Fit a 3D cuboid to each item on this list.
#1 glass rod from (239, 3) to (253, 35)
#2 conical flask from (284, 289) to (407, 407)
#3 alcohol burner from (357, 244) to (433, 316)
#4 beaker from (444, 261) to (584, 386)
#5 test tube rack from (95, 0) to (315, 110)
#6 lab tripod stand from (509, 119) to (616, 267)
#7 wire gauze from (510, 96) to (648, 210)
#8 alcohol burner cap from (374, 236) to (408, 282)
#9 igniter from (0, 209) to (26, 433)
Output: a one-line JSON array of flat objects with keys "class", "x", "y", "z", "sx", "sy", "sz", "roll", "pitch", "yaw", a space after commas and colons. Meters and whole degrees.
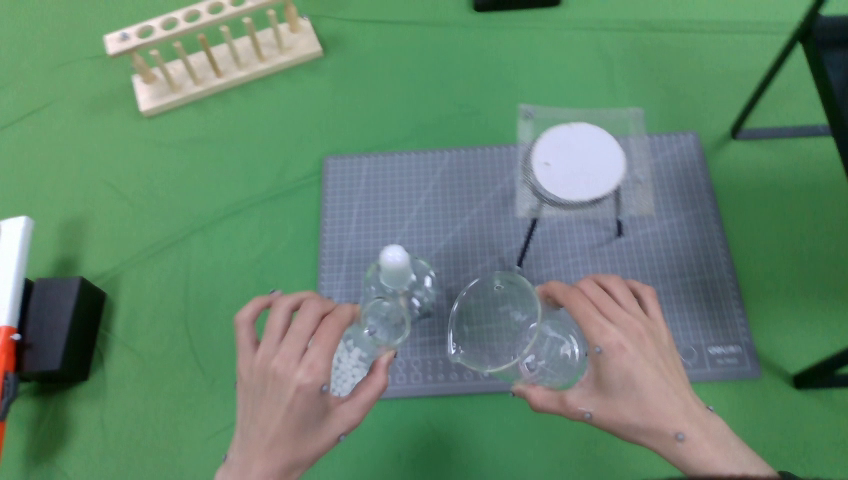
[{"class": "glass rod", "x": -0.228, "y": -0.319, "z": 0.719, "sx": 0.008, "sy": 0.201, "sz": 0.008, "roll": 1, "pitch": 64, "yaw": -1}, {"class": "conical flask", "x": -0.054, "y": 0.076, "z": 0.454, "sx": 0.076, "sy": 0.122, "sz": 0.074, "roll": 14, "pitch": 57, "yaw": -23}, {"class": "alcohol burner", "x": -0.030, "y": 0.032, "z": 0.605, "sx": 0.078, "sy": 0.120, "sz": 0.077, "roll": 0, "pitch": 64, "yaw": 1}, {"class": "beaker", "x": 0.071, "y": 0.071, "z": 0.464, "sx": 0.084, "sy": 0.101, "sz": 0.073, "roll": -40, "pitch": 50, "yaw": 15}, {"class": "test tube rack", "x": -0.270, "y": -0.256, "z": 0.767, "sx": 0.242, "sy": 0.086, "sz": 0.066, "roll": -22, "pitch": 66, "yaw": -7}, {"class": "lab tripod stand", "x": 0.138, "y": -0.051, "z": 0.621, "sx": 0.148, "sy": 0.132, "sz": 0.147, "roll": -1, "pitch": 64, "yaw": 2}, {"class": "wire gauze", "x": 0.141, "y": -0.083, "z": 0.561, "sx": 0.121, "sy": 0.011, "sz": 0.124, "roll": 2, "pitch": 66, "yaw": 3}, {"class": "alcohol burner cap", "x": -0.033, "y": 0.015, "z": 0.572, "sx": 0.034, "sy": 0.048, "sz": 0.033, "roll": 0, "pitch": 58, "yaw": 0}, {"class": "igniter", "x": -0.428, "y": 0.093, "z": 0.599, "sx": 0.057, "sy": 0.025, "sz": 0.274, "roll": -12, "pitch": 65, "yaw": 3}]
